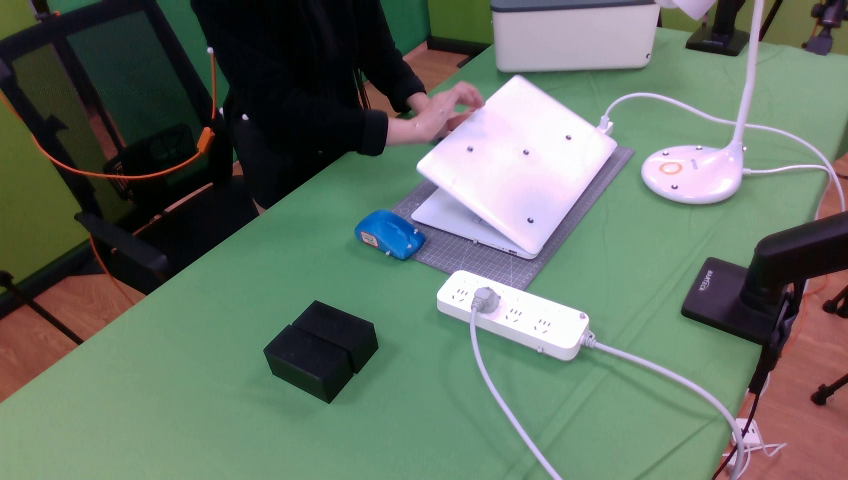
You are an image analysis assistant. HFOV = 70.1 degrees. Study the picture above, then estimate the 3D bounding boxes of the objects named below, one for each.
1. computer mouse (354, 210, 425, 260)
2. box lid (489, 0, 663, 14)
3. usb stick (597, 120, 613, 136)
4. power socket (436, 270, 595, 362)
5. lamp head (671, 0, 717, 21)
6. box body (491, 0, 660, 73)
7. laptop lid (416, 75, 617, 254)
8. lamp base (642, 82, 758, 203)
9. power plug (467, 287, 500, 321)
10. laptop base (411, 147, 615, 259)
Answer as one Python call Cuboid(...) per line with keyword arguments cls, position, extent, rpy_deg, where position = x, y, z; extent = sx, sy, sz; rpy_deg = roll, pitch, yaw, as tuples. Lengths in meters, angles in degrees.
Cuboid(cls="computer mouse", position=(-0.057, -0.012, 0.983), extent=(0.116, 0.041, 0.063), rpy_deg=(27, 48, 29))
Cuboid(cls="box lid", position=(0.341, -0.576, 1.380), extent=(0.371, 0.015, 0.262), rpy_deg=(0, 41, 10))
Cuboid(cls="usb stick", position=(0.336, -0.201, 1.146), extent=(0.021, 0.027, 0.059), rpy_deg=(25, 52, 27))
Cuboid(cls="power socket", position=(0.118, 0.101, 0.832), extent=(0.225, 0.033, 0.072), rpy_deg=(19, 48, 27))
Cuboid(cls="lamp head", position=(0.375, -0.373, 0.807), extent=(0.122, 0.113, 0.112), rpy_deg=(-40, 27, 32))
Cuboid(cls="box body", position=(0.347, -0.521, 1.429), extent=(0.363, 0.161, 0.253), rpy_deg=(1, 41, 9))
Cuboid(cls="laptop lid", position=(0.171, -0.147, 1.026), extent=(0.241, 0.013, 0.357), rpy_deg=(39, 52, 8))
Cuboid(cls="lamp base", position=(0.464, -0.174, 0.992), extent=(0.179, 0.181, 0.159), rpy_deg=(-5, 41, -1))
Cuboid(cls="power plug", position=(0.073, 0.092, 0.814), extent=(0.035, 0.053, 0.073), rpy_deg=(29, 54, 34))
Cuboid(cls="laptop base", position=(0.168, -0.101, 1.073), extent=(0.234, 0.023, 0.355), rpy_deg=(17, 46, 30))
